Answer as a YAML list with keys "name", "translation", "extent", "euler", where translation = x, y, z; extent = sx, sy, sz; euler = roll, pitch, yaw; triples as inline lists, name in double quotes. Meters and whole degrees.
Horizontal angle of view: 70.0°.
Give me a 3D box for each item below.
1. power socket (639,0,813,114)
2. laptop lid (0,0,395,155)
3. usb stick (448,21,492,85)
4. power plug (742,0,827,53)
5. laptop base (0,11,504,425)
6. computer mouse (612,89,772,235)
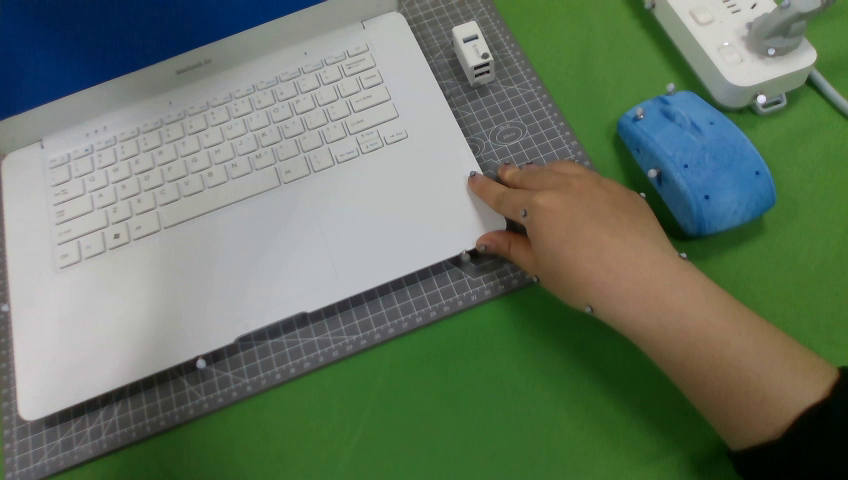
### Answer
- name: "power socket"
  translation: [0.218, -0.195, 0.483]
  extent: [0.072, 0.033, 0.224]
  euler: [-19, 63, -1]
- name: "laptop lid"
  translation: [-0.210, -0.204, 0.424]
  extent: [0.357, 0.244, 0.013]
  euler: [-23, 49, -2]
- name: "usb stick"
  translation: [0.035, -0.156, 0.490]
  extent: [0.021, 0.027, 0.058]
  euler: [-21, 60, 2]
- name: "power plug"
  translation: [0.266, -0.153, 0.432]
  extent: [0.072, 0.053, 0.035]
  euler: [-10, 65, 2]
- name: "laptop base"
  translation: [-0.144, -0.034, 0.460]
  extent: [0.354, 0.023, 0.233]
  euler: [-22, 66, -3]
- name: "computer mouse"
  translation: [0.182, -0.060, 0.418]
  extent: [0.063, 0.041, 0.116]
  euler: [-22, 58, -1]
